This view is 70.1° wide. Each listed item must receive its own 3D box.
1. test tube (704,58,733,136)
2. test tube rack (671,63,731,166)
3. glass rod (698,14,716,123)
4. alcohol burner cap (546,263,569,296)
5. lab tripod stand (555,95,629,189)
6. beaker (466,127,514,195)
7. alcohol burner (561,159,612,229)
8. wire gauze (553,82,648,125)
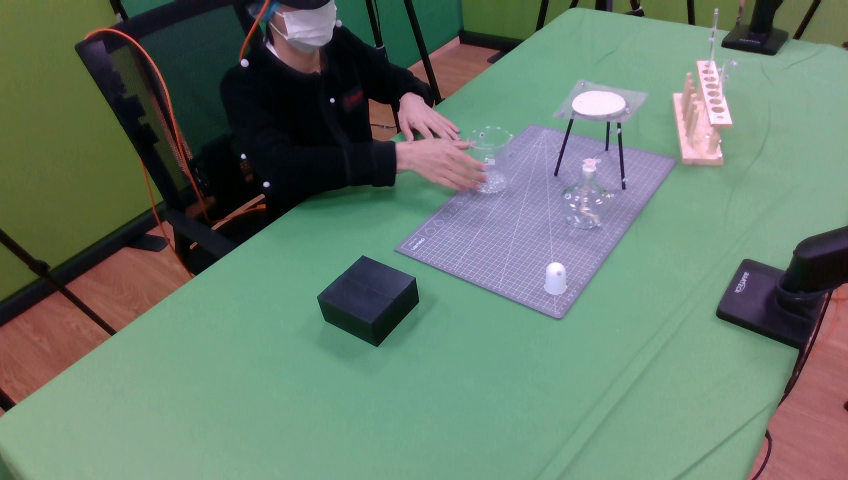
[{"bbox_3d":[0.516,-0.247,1.062,0.017,0.151,0.017,-3,43,4],"label":"test tube"},{"bbox_3d":[0.513,-0.241,1.132,0.066,0.085,0.242,4,41,14],"label":"test tube rack"},{"bbox_3d":[0.531,-0.320,1.136,0.008,0.200,0.008,3,12,0],"label":"glass rod"},{"bbox_3d":[0.191,0.053,0.862,0.034,0.048,0.033,-5,40,4],"label":"alcohol burner cap"},{"bbox_3d":[0.300,-0.174,1.045,0.148,0.132,0.147,-5,38,5],"label":"lab tripod stand"},{"bbox_3d":[0.117,-0.136,1.056,0.084,0.101,0.073,-9,40,-2],"label":"beaker"},{"bbox_3d":[0.257,-0.077,0.951,0.078,0.119,0.077,-3,40,3],"label":"alcohol burner"},{"bbox_3d":[0.293,-0.226,1.002,0.120,0.011,0.125,17,45,27],"label":"wire gauze"}]
